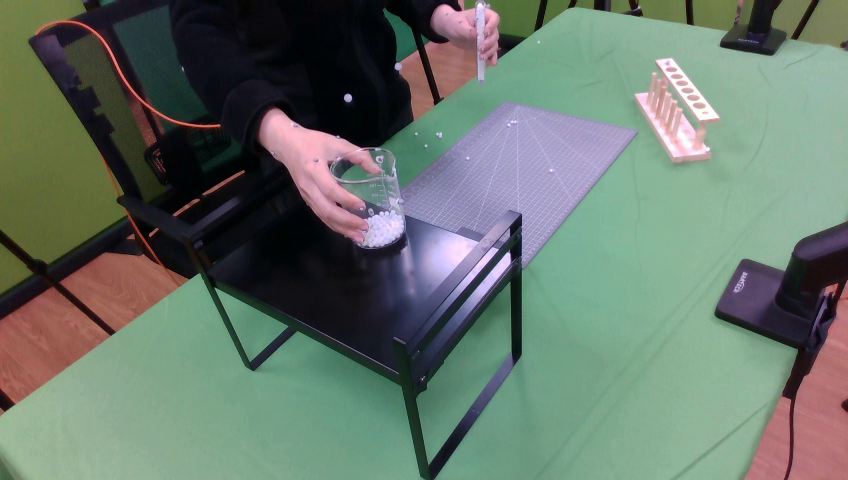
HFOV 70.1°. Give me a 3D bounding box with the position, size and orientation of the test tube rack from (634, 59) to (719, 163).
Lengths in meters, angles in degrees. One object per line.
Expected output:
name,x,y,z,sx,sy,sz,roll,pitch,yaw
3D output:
test tube rack,0.470,-0.250,1.148,0.067,0.085,0.241,-6,40,2

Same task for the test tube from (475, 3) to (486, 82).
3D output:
test tube,0.092,-0.315,0.977,0.017,0.151,0.017,-3,56,5

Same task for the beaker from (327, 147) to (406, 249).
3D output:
beaker,-0.060,-0.045,0.697,0.083,0.101,0.074,17,46,30
